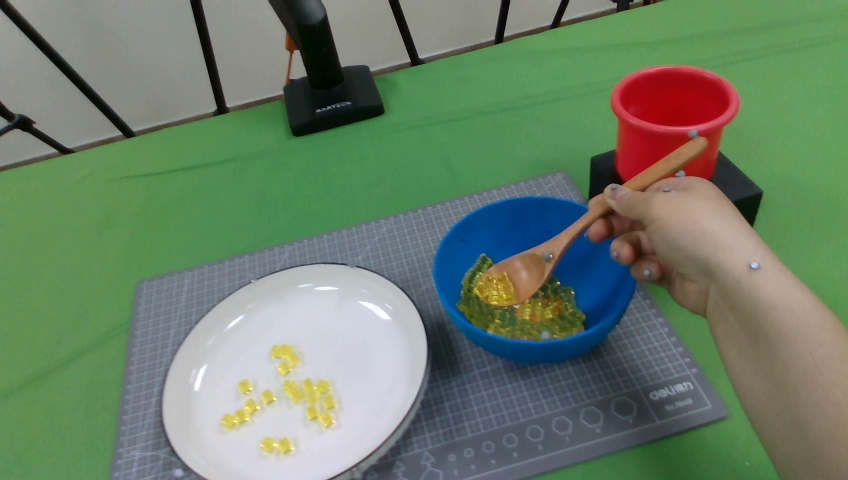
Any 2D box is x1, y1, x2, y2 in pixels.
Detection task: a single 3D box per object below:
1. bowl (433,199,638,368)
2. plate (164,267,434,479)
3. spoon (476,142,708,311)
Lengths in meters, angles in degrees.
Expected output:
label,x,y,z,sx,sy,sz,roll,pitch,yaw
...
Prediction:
label,x,y,z,sx,sy,sz,roll,pitch,yaw
bowl,0.086,0.046,0.474,0.151,0.077,0.150,-6,44,6
plate,-0.093,0.108,0.477,0.207,0.039,0.205,-6,44,6
spoon,0.120,-0.010,0.430,0.194,0.022,0.041,-38,43,7
